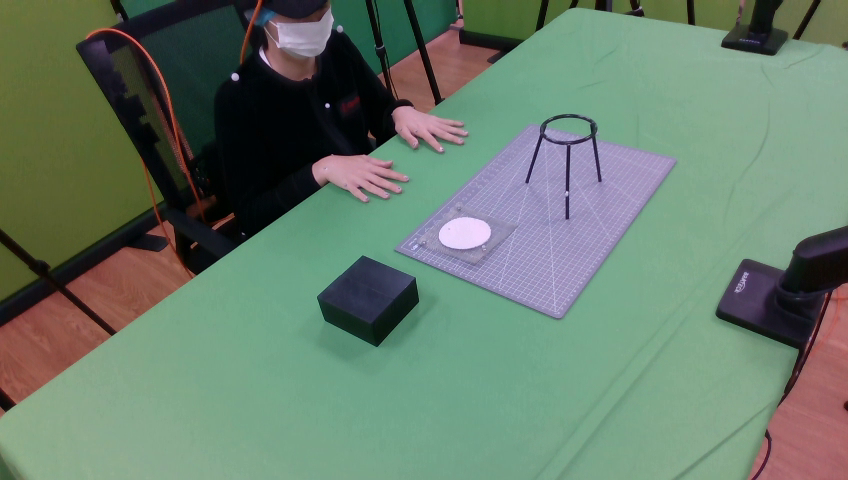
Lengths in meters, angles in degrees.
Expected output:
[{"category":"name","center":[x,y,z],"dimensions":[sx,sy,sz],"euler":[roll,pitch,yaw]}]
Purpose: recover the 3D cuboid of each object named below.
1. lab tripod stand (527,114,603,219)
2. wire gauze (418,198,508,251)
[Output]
[{"category":"lab tripod stand","center":[0.234,-0.129,1.002],"dimensions":[0.148,0.132,0.147],"euler":[-6,40,6]},{"category":"wire gauze","center":[0.065,-0.028,0.983],"dimensions":[0.124,0.011,0.121],"euler":[2,42,22]}]
